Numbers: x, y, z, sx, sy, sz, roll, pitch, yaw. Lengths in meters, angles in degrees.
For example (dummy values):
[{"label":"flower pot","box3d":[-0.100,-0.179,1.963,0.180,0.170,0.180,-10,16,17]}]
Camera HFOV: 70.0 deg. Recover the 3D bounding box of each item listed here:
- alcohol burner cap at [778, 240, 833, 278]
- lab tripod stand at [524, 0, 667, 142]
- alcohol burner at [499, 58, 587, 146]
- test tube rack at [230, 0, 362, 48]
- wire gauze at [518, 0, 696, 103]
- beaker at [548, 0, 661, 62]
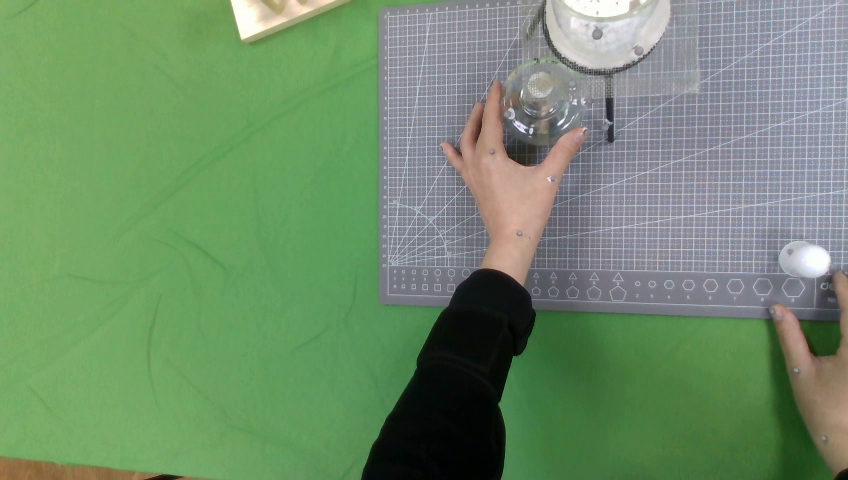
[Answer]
[{"label":"alcohol burner cap","box3d":[0.322,0.016,0.508,0.034,0.048,0.034,0,91,14]},{"label":"lab tripod stand","box3d":[0.147,-0.162,0.500,0.148,0.132,0.148,1,93,13]},{"label":"alcohol burner","box3d":[0.102,-0.122,0.523,0.078,0.119,0.078,0,91,13]},{"label":"test tube rack","box3d":[-0.098,-0.272,0.586,0.242,0.085,0.066,-17,87,14]},{"label":"wire gauze","box3d":[0.131,-0.161,0.436,0.125,0.011,0.121,0,95,12]},{"label":"beaker","box3d":[0.113,-0.161,0.391,0.083,0.100,0.074,14,95,14]}]
